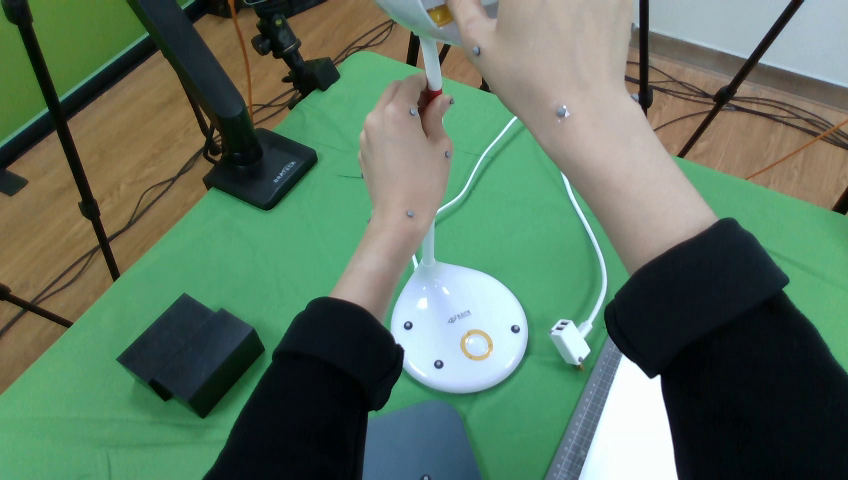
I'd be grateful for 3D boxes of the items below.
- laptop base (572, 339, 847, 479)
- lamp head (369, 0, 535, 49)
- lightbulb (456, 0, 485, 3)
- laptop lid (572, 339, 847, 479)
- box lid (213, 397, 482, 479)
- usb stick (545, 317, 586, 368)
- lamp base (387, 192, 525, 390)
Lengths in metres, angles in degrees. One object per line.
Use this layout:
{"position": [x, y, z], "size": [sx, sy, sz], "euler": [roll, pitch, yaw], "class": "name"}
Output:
{"position": [0.329, 0.259, 0.582], "size": [0.352, 0.023, 0.234], "euler": [21, 61, 16], "class": "laptop base"}
{"position": [0.004, -0.187, 0.406], "size": [0.112, 0.113, 0.122], "euler": [-34, 29, -21], "class": "lamp head"}
{"position": [0.015, -0.180, 0.376], "size": [0.059, 0.060, 0.106], "euler": [-32, 35, -20], "class": "lightbulb"}
{"position": [0.327, 0.254, 0.572], "size": [0.355, 0.013, 0.240], "euler": [23, 60, 17], "class": "laptop lid"}
{"position": [-0.042, 0.336, 0.541], "size": [0.264, 0.015, 0.367], "euler": [-15, 56, -9], "class": "box lid"}
{"position": [0.161, 0.116, 0.675], "size": [0.027, 0.059, 0.021], "euler": [-39, 19, -29], "class": "usb stick"}
{"position": [0.027, 0.045, 0.648], "size": [0.160, 0.182, 0.177], "euler": [-33, 56, -21], "class": "lamp base"}
